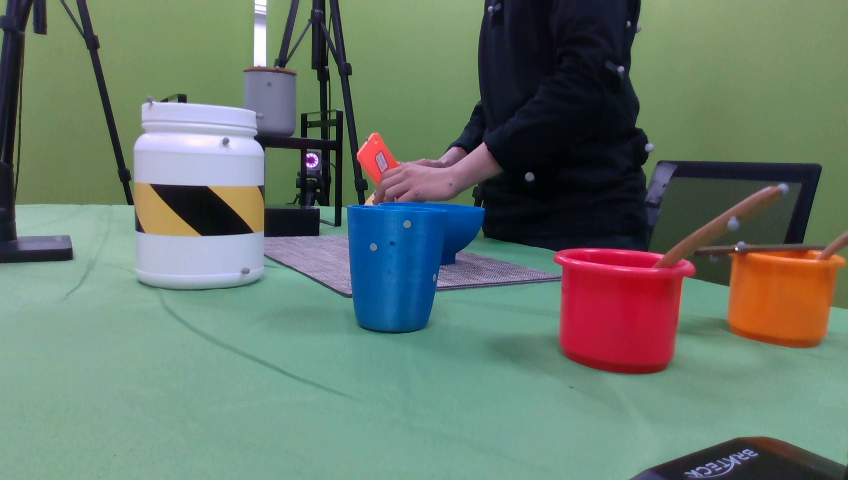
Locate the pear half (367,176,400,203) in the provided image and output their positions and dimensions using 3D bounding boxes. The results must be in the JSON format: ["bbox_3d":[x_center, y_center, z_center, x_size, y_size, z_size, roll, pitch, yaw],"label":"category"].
[{"bbox_3d":[-0.064,-0.060,1.074,0.055,0.110,0.077,4,11,43],"label":"pear half"}]

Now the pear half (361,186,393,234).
[{"bbox_3d":[-0.091,-0.055,1.101,0.031,0.088,0.071,8,13,39],"label":"pear half"}]

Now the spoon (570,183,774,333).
[{"bbox_3d":[0.159,0.020,0.413,0.042,0.021,0.193,0,-36,-24],"label":"spoon"}]

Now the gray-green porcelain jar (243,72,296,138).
[{"bbox_3d":[-0.322,-0.279,1.263,0.106,0.126,0.106,3,8,0],"label":"gray-green porcelain jar"}]

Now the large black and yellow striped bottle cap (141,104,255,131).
[{"bbox_3d":[-0.241,-0.131,0.650,0.115,0.019,0.115,4,8,0],"label":"large black and yellow striped bottle cap"}]

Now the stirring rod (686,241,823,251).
[{"bbox_3d":[0.289,0.005,0.525,0.177,0.006,0.014,-1,5,-26],"label":"stirring rod"}]

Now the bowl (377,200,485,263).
[{"bbox_3d":[0.008,-0.012,0.842,0.151,0.077,0.151,3,8,0],"label":"bowl"}]

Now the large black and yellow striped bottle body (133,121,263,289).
[{"bbox_3d":[-0.243,-0.048,0.659,0.131,0.184,0.130,2,7,0],"label":"large black and yellow striped bottle body"}]

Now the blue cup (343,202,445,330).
[{"bbox_3d":[-0.027,0.021,0.510,0.093,0.100,0.092,3,5,0],"label":"blue cup"}]

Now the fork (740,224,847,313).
[{"bbox_3d":[0.323,0.013,0.485,0.028,0.018,0.207,9,-38,-5],"label":"fork"}]

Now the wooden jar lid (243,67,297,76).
[{"bbox_3d":[-0.319,-0.342,1.254,0.108,0.020,0.108,3,8,0],"label":"wooden jar lid"}]

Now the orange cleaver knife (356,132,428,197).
[{"bbox_3d":[-0.056,-0.118,1.109,0.012,0.077,0.212,7,-22,36],"label":"orange cleaver knife"}]
